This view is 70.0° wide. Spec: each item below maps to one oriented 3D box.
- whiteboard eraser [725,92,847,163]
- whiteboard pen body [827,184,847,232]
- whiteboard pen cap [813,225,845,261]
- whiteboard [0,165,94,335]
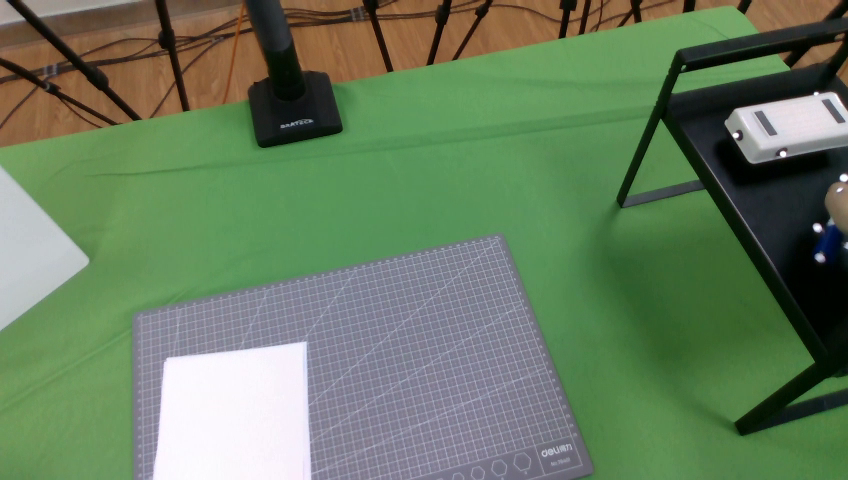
[{"bbox_3d":[0.354,-0.106,0.587,0.113,0.042,0.055,-12,57,-7],"label":"whiteboard eraser"},{"bbox_3d":[0.378,-0.039,0.533,0.017,0.017,0.140,33,66,20],"label":"whiteboard pen body"},{"bbox_3d":[0.342,0.001,0.510,0.018,0.018,0.033,32,67,20],"label":"whiteboard pen cap"},{"bbox_3d":[-0.563,-0.031,0.641,0.142,0.309,0.217,27,60,39],"label":"whiteboard"}]
